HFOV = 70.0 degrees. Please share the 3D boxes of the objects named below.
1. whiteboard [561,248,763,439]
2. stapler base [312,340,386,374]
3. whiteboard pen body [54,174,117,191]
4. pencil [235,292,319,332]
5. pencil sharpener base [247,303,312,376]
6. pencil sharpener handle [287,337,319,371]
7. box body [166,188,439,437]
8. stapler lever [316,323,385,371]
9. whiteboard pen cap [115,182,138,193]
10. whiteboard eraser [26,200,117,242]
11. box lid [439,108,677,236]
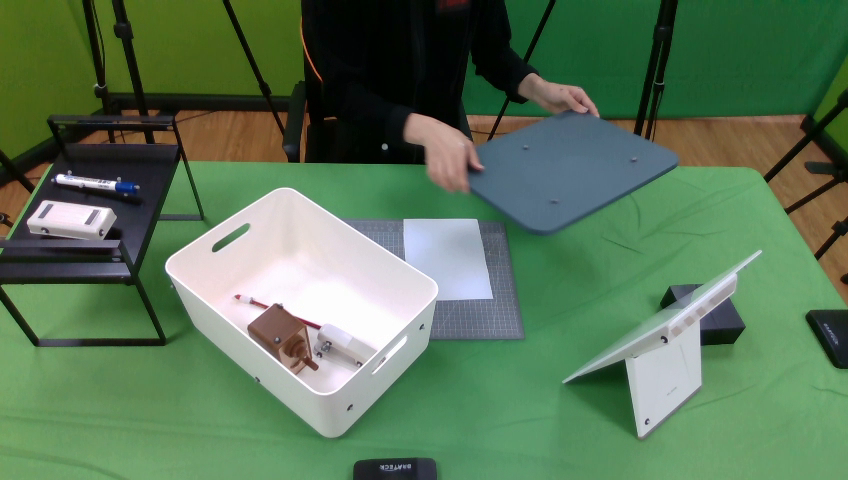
[{"bbox_3d":[0.386,0.176,0.905,0.217,0.306,0.143,-26,72,-27],"label":"whiteboard"},{"bbox_3d":[-0.123,0.189,0.997,0.130,0.024,0.041,21,51,15],"label":"stapler base"},{"bbox_3d":[-0.541,-0.093,0.993,0.140,0.017,0.017,7,46,8],"label":"whiteboard pen body"},{"bbox_3d":[-0.244,0.130,1.054,0.194,0.012,0.012,22,49,11],"label":"pencil"},{"bbox_3d":[-0.224,0.165,0.956,0.076,0.107,0.061,31,53,23],"label":"pencil sharpener base"},{"bbox_3d":[-0.181,0.178,0.929,0.030,0.068,0.036,31,67,23],"label":"pencil sharpener handle"},{"bbox_3d":[-0.190,0.108,0.980,0.362,0.161,0.254,32,52,24],"label":"box body"},{"bbox_3d":[-0.120,0.171,0.977,0.118,0.040,0.027,22,51,14],"label":"stapler lever"},{"bbox_3d":[-0.483,-0.086,0.984,0.033,0.018,0.018,7,46,10],"label":"whiteboard pen cap"},{"bbox_3d":[-0.532,-0.026,0.919,0.113,0.042,0.055,7,45,3],"label":"whiteboard eraser"},{"bbox_3d":[0.240,-0.136,1.072,0.372,0.015,0.261,-26,46,-29],"label":"box lid"}]
